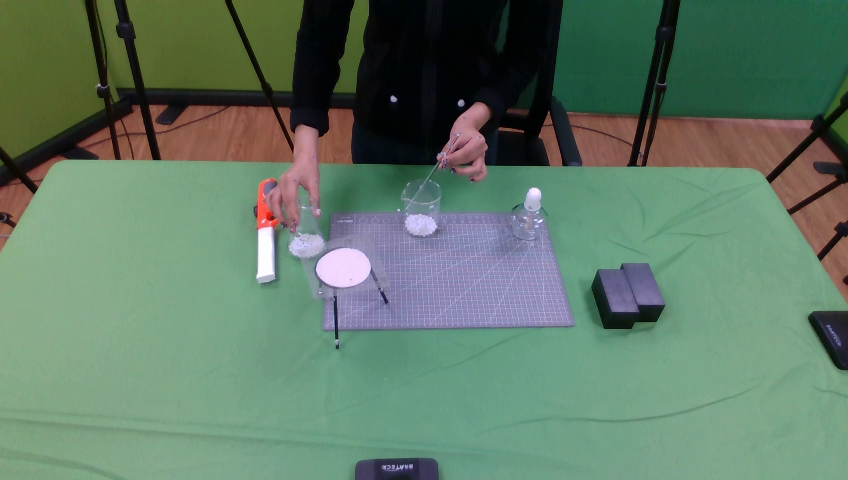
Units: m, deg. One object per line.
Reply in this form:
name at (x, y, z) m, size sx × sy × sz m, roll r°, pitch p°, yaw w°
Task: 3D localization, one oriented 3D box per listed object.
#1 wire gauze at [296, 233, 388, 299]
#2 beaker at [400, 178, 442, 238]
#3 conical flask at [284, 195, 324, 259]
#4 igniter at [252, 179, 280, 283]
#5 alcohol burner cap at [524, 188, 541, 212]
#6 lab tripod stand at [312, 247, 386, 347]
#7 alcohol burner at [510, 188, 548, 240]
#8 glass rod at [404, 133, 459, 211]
wire gauze at (-0.133, 0.041, 0.977) m, size 0.125 × 0.011 × 0.120 m, roll -12°, pitch 47°, yaw -16°
beaker at (-0.009, -0.059, 1.200) m, size 0.084 × 0.101 × 0.073 m, roll -14°, pitch 48°, yaw -17°
conical flask at (-0.224, -0.028, 1.136) m, size 0.075 × 0.122 × 0.075 m, roll 6°, pitch 44°, yaw -6°
igniter at (-0.312, -0.027, 1.197) m, size 0.057 × 0.025 × 0.274 m, roll -12°, pitch 47°, yaw -1°
alcohol burner cap at (0.212, -0.081, 1.177) m, size 0.034 × 0.048 × 0.033 m, roll -2°, pitch 54°, yaw 2°
lab tripod stand at (-0.134, 0.085, 1.028) m, size 0.148 × 0.132 × 0.147 m, roll 2°, pitch 45°, yaw -1°
alcohol burner at (0.211, -0.057, 1.204) m, size 0.078 × 0.120 × 0.077 m, roll 1°, pitch 47°, yaw -1°
glass rod at (0.011, -0.124, 1.131) m, size 0.008 × 0.200 × 0.008 m, roll 23°, pitch 37°, yaw -19°
